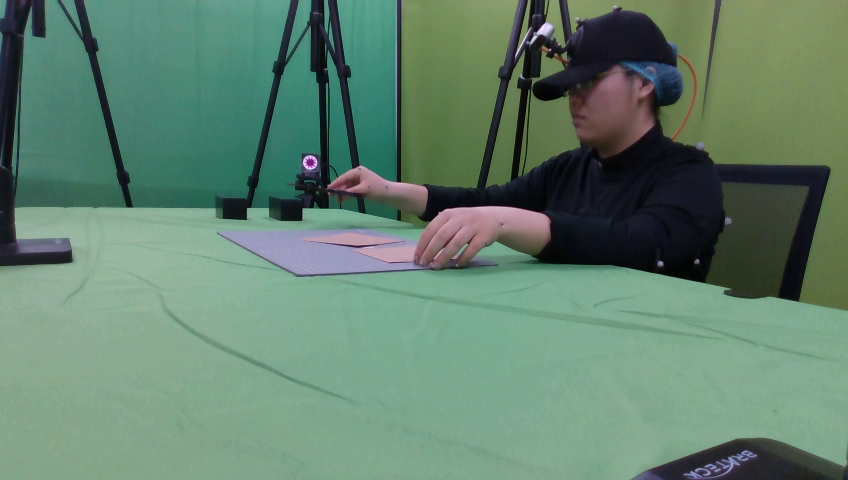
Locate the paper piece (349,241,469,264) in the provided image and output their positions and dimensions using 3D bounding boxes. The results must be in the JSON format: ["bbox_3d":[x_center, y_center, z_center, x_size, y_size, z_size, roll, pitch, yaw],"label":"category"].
[{"bbox_3d":[-0.025,0.019,0.916,0.137,0.008,0.137,-6,12,-30],"label":"paper piece"}]

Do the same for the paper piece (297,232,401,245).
[{"bbox_3d":[-0.127,-0.003,1.052,0.135,0.004,0.136,7,8,33],"label":"paper piece"}]

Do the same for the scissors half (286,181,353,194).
[{"bbox_3d":[-0.217,-0.109,1.266,0.040,0.013,0.176,17,6,38],"label":"scissors half"}]

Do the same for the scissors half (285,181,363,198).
[{"bbox_3d":[-0.204,-0.105,1.251,0.176,0.013,0.040,9,2,-31],"label":"scissors half"}]
